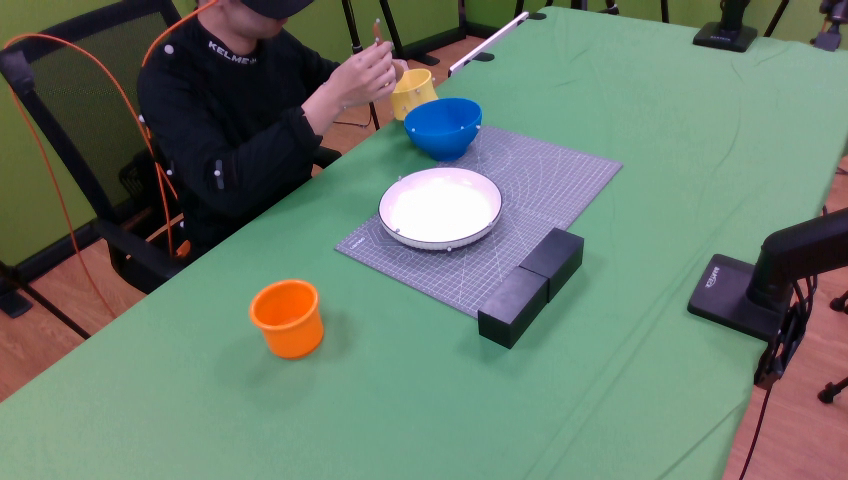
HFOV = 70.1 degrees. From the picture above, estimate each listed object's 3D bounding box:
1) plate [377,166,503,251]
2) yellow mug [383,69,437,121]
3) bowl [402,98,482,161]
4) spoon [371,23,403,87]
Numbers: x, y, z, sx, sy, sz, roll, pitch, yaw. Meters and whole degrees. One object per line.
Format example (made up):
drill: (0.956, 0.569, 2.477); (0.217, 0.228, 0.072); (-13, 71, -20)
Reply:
plate: (0.027, -0.050, 1.007); (0.209, 0.038, 0.208); (-4, 41, 4)
yellow mug: (-0.034, -0.305, 1.255); (0.100, 0.064, 0.129); (-31, 37, -14)
bowl: (0.040, -0.203, 1.154); (0.151, 0.077, 0.150); (-7, 37, 6)
spoon: (-0.069, -0.331, 1.091); (0.021, 0.195, 0.041); (42, 87, 20)
